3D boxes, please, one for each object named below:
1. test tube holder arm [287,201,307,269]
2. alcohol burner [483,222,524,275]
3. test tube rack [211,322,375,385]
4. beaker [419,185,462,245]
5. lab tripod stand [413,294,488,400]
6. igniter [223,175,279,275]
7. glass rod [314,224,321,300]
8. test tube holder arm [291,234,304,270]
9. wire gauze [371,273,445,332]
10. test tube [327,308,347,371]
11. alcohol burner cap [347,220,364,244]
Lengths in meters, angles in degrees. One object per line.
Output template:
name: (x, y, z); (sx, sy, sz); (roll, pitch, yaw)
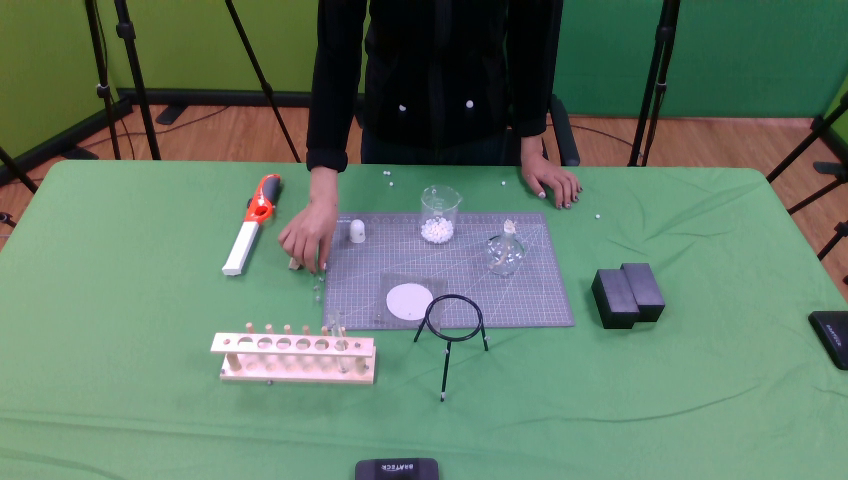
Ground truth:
test tube holder arm: (-0.248, -0.014, 1.193); (0.013, 0.015, 0.177); (30, 38, -28)
alcohol burner: (0.152, 0.010, 1.136); (0.078, 0.119, 0.077); (4, 46, -4)
test tube rack: (-0.202, 0.176, 0.969); (0.242, 0.085, 0.066); (3, 46, -2)
beaker: (0.029, -0.047, 1.191); (0.084, 0.101, 0.073); (-5, 47, -10)
lab tripod stand: (0.044, 0.159, 0.972); (0.148, 0.132, 0.147); (2, 44, -2)
igniter: (-0.341, -0.039, 1.206); (0.057, 0.025, 0.275); (-1, 45, 8)
glass rod: (-0.203, 0.038, 1.156); (0.008, 0.008, 0.198); (-2, 44, -6)
test tube holder arm: (-0.243, 0.021, 1.164); (0.010, 0.015, 0.087); (30, 38, -28)
wire gauze: (-0.028, 0.109, 1.100); (0.125, 0.011, 0.121); (8, 45, 4)
test tube: (-0.132, 0.155, 0.926); (0.017, 0.151, 0.017); (0, 45, 0)
alcohol burner cap: (-0.135, -0.019, 1.190); (0.034, 0.048, 0.033); (3, 46, -2)
